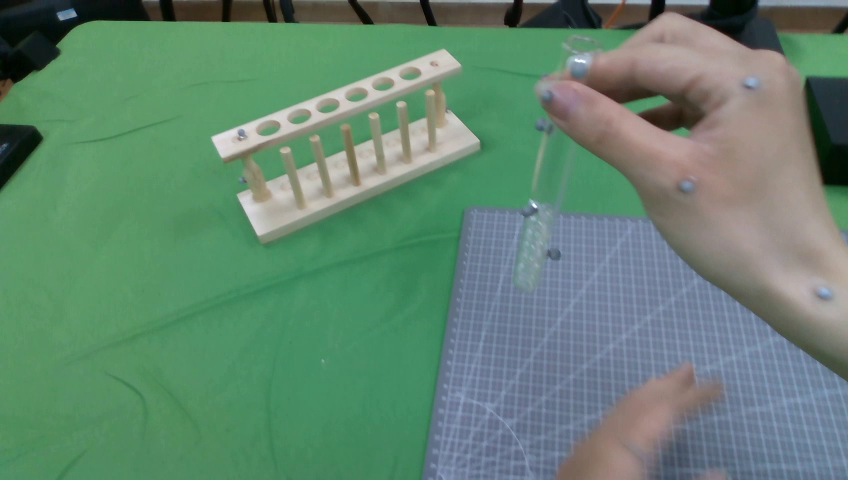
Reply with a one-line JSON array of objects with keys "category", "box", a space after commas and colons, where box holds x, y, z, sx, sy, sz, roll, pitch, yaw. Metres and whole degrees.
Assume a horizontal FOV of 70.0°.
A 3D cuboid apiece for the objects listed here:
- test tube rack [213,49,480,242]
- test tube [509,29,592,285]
[{"category": "test tube rack", "box": [-0.066, -0.094, 0.588, 0.242, 0.086, 0.066, -25, 52, -15]}, {"category": "test tube", "box": [0.058, -0.029, 0.296, 0.017, 0.152, 0.017, 1, 46, -1]}]
